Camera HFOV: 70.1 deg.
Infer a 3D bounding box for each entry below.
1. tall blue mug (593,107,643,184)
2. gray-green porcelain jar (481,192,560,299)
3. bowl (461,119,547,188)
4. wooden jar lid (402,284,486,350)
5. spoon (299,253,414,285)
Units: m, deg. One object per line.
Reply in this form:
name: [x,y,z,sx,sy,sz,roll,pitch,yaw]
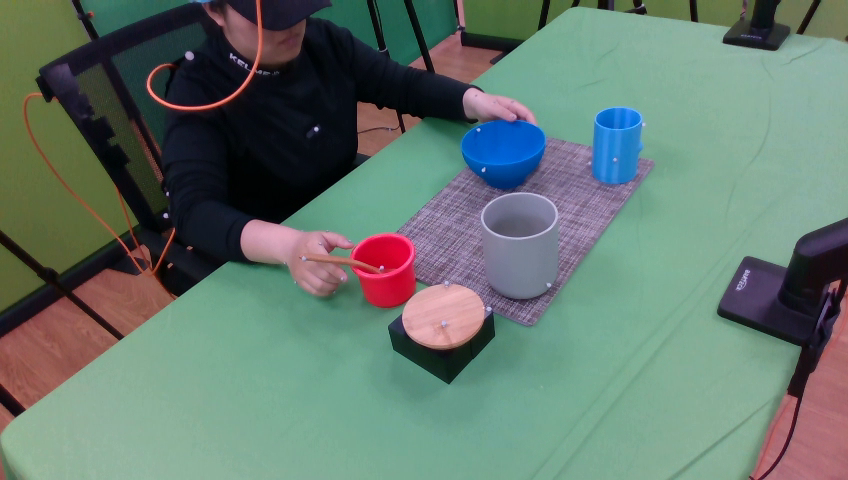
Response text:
tall blue mug: [0.330,-0.172,1.052,0.078,0.108,0.106,-12,40,-1]
gray-green porcelain jar: [0.138,0.012,0.858,0.106,0.127,0.105,-6,40,5]
bowl: [0.145,-0.145,1.081,0.151,0.077,0.150,-5,40,5]
wooden jar lid: [0.026,0.101,0.786,0.108,0.021,0.108,-5,39,4]
spoon: [-0.093,0.038,0.866,0.195,0.021,0.041,19,24,-40]
